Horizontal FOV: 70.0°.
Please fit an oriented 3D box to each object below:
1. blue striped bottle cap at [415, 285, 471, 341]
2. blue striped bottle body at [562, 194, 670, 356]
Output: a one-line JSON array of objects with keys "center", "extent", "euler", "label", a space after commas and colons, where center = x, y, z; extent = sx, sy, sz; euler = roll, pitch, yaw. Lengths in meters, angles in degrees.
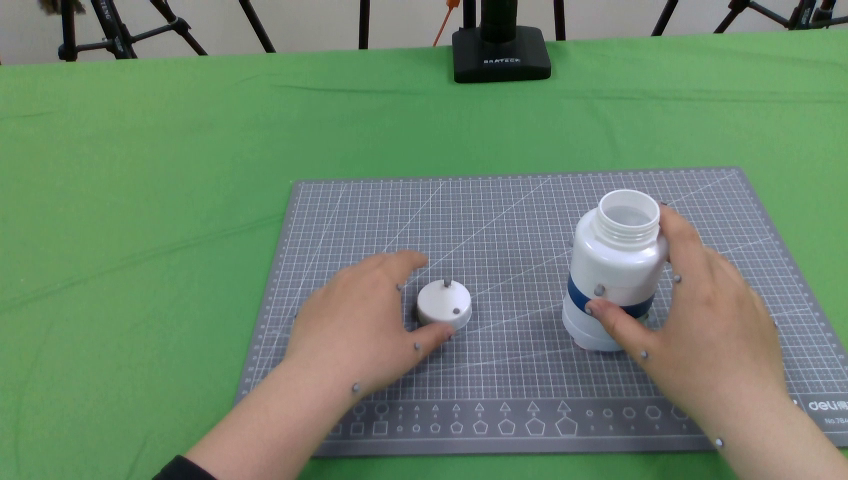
[{"center": [0.015, 0.058, 0.486], "extent": [0.044, 0.021, 0.044], "euler": [-1, 43, 1], "label": "blue striped bottle cap"}, {"center": [0.136, 0.025, 0.435], "extent": [0.063, 0.122, 0.062], "euler": [-2, 44, 2], "label": "blue striped bottle body"}]
